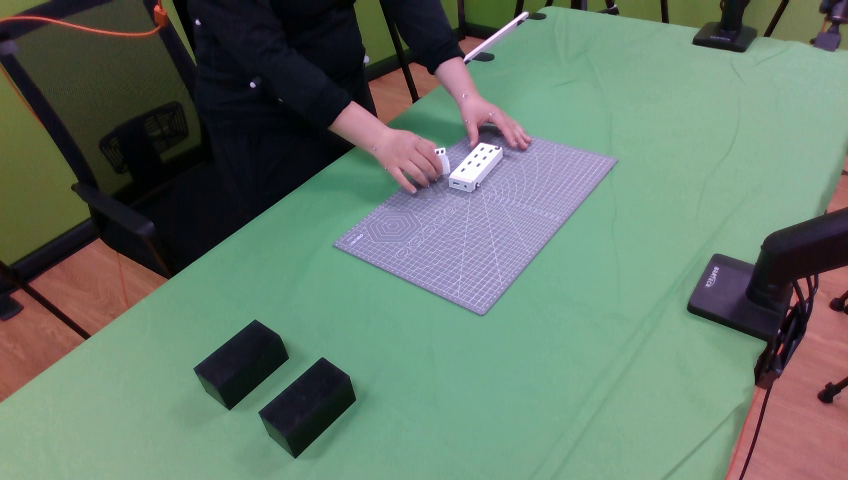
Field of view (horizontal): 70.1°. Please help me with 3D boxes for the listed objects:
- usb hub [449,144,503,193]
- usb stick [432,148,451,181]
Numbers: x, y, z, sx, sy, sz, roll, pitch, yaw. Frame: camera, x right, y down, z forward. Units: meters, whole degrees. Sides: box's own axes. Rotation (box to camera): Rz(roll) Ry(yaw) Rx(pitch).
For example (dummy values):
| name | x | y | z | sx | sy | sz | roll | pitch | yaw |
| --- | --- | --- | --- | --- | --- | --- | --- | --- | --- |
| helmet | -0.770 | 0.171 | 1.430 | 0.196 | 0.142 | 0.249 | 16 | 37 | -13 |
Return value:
| name | x | y | z | sx | sy | sz | roll | pitch | yaw |
| --- | --- | --- | --- | --- | --- | --- | --- | --- | --- |
| usb hub | 0.096 | -0.132 | 1.105 | 0.049 | 0.025 | 0.125 | 18 | 46 | 27 |
| usb stick | 0.033 | -0.134 | 1.090 | 0.027 | 0.059 | 0.021 | -10 | 39 | 7 |
